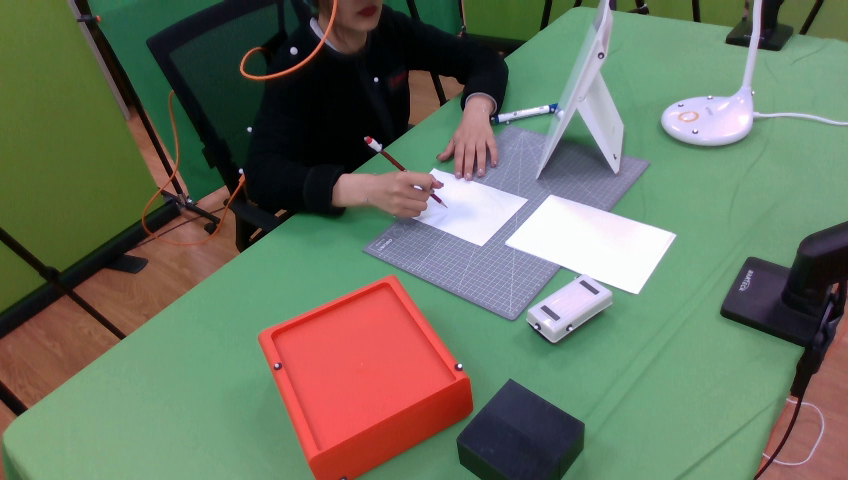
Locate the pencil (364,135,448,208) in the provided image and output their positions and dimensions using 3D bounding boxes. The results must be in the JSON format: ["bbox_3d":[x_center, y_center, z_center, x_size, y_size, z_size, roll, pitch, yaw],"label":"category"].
[{"bbox_3d":[-0.025,-0.108,0.987,0.012,0.195,0.012,-34,34,28],"label":"pencil"}]

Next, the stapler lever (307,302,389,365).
[{"bbox_3d":[-0.101,0.121,0.799,0.118,0.040,0.026,-26,29,-17],"label":"stapler lever"}]

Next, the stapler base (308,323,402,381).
[{"bbox_3d":[-0.094,0.142,0.812,0.131,0.024,0.041,-25,29,-17],"label":"stapler base"}]

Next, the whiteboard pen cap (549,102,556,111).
[{"bbox_3d":[0.273,-0.279,1.259,0.033,0.018,0.018,-10,40,-4],"label":"whiteboard pen cap"}]

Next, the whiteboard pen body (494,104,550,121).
[{"bbox_3d":[0.216,-0.268,1.257,0.141,0.017,0.017,-12,40,-4],"label":"whiteboard pen body"}]

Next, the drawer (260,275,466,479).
[{"bbox_3d":[-0.080,0.162,0.760,0.195,0.073,0.210,-22,42,-16],"label":"drawer"}]

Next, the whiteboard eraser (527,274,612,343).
[{"bbox_3d":[0.198,0.094,0.820,0.113,0.042,0.055,-29,43,-22],"label":"whiteboard eraser"}]

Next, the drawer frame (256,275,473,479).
[{"bbox_3d":[-0.078,0.164,0.756,0.202,0.083,0.211,-23,43,-17],"label":"drawer frame"}]

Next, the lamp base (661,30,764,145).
[{"bbox_3d":[0.535,-0.287,1.096,0.179,0.181,0.159,-10,40,-4],"label":"lamp base"}]

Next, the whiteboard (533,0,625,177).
[{"bbox_3d":[0.321,-0.258,1.049,0.144,0.306,0.217,20,45,4],"label":"whiteboard"}]
